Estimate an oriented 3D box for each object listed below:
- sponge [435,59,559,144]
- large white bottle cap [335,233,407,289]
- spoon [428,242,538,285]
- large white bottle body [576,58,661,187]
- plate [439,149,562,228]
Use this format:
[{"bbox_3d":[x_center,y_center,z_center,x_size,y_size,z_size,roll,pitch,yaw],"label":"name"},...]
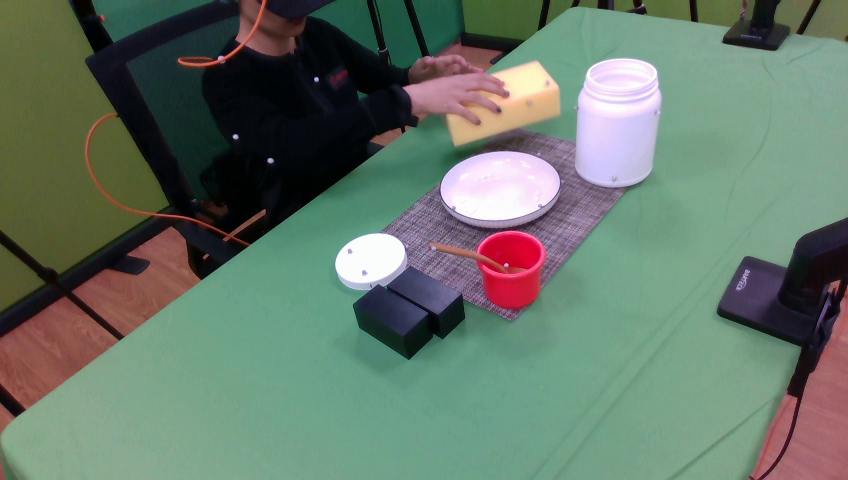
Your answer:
[{"bbox_3d":[0.135,-0.261,1.133,0.207,0.061,0.117,-17,42,-3],"label":"sponge"},{"bbox_3d":[-0.085,0.032,0.961,0.115,0.018,0.114,-6,42,6],"label":"large white bottle cap"},{"bbox_3d":[0.084,0.030,0.831,0.195,0.021,0.041,22,26,-34],"label":"spoon"},{"bbox_3d":[0.326,-0.197,1.021,0.130,0.185,0.130,-5,40,5],"label":"large white bottle body"},{"bbox_3d":[0.131,-0.085,1.041,0.209,0.038,0.208,-5,40,5],"label":"plate"}]
